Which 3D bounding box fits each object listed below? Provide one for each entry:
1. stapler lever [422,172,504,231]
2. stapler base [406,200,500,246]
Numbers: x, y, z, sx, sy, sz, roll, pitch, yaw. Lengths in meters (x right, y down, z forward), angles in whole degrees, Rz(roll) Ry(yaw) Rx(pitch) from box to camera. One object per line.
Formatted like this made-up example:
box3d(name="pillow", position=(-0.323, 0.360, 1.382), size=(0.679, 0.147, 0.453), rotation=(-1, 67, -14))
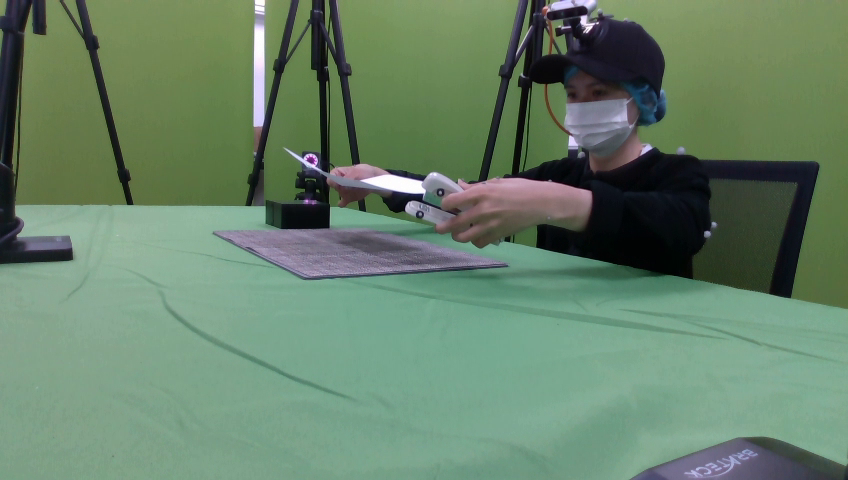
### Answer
box3d(name="stapler lever", position=(0.052, -0.050, 0.774), size=(0.118, 0.040, 0.027), rotation=(21, 20, -6))
box3d(name="stapler base", position=(0.041, -0.029, 0.781), size=(0.131, 0.024, 0.041), rotation=(22, 20, -6))
